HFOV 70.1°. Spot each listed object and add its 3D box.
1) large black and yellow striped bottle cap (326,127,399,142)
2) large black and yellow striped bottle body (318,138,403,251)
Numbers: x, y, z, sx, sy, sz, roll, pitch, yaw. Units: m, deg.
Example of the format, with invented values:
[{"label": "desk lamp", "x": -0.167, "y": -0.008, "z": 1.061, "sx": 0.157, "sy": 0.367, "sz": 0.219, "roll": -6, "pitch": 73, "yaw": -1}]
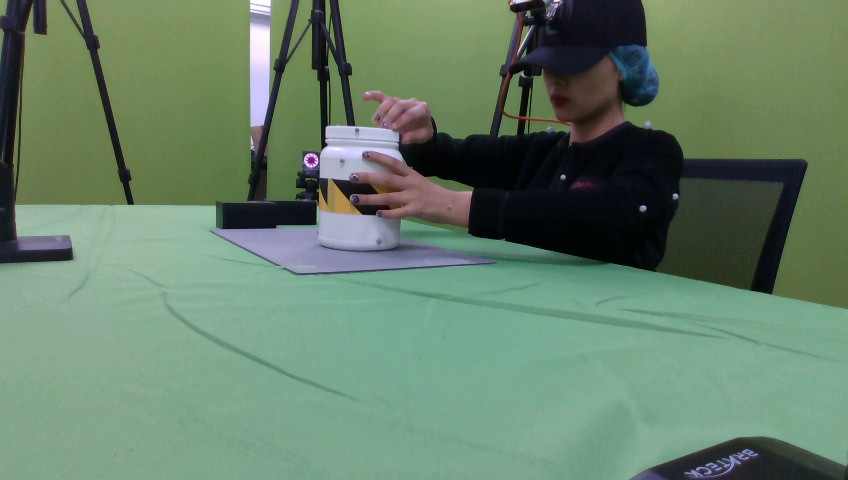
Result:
[{"label": "large black and yellow striped bottle cap", "x": -0.095, "y": -0.164, "z": 0.941, "sx": 0.115, "sy": 0.019, "sz": 0.115, "roll": 2, "pitch": 9, "yaw": 0}, {"label": "large black and yellow striped bottle body", "x": -0.100, "y": -0.081, "z": 0.952, "sx": 0.131, "sy": 0.184, "sz": 0.130, "roll": 3, "pitch": 7, "yaw": 0}]
